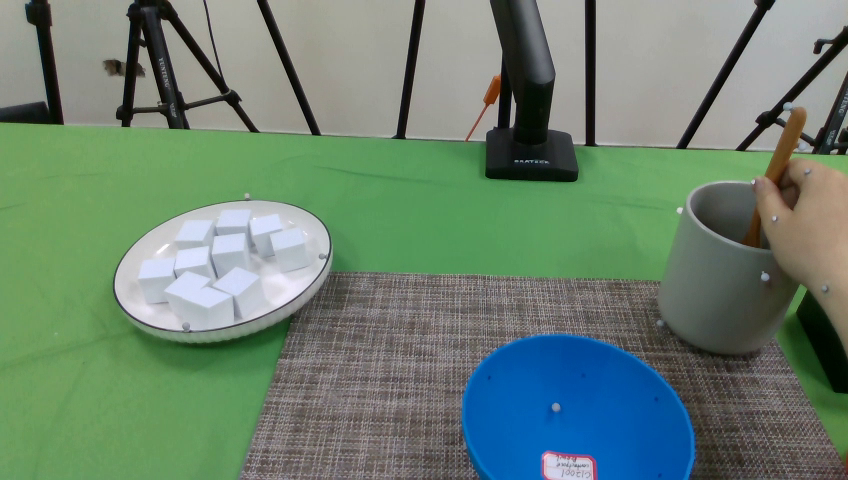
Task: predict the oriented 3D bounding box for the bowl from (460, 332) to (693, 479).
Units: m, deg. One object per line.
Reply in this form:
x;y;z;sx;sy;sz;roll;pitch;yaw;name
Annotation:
0.098;0.145;0.421;0.151;0.077;0.150;0;37;0;bowl

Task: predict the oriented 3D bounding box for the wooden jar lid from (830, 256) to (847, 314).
0.406;0.051;0.517;0.108;0.021;0.107;-1;37;1;wooden jar lid

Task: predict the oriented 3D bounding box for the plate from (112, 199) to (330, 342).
-0.197;0.029;0.608;0.209;0.038;0.207;-1;37;1;plate

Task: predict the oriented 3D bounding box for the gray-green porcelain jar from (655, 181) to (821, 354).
0.267;0.029;0.534;0.106;0.127;0.105;0;38;0;gray-green porcelain jar

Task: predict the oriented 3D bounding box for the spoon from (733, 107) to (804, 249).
0.278;-0.023;0.502;0.021;0.196;0.041;-20;45;-9;spoon
